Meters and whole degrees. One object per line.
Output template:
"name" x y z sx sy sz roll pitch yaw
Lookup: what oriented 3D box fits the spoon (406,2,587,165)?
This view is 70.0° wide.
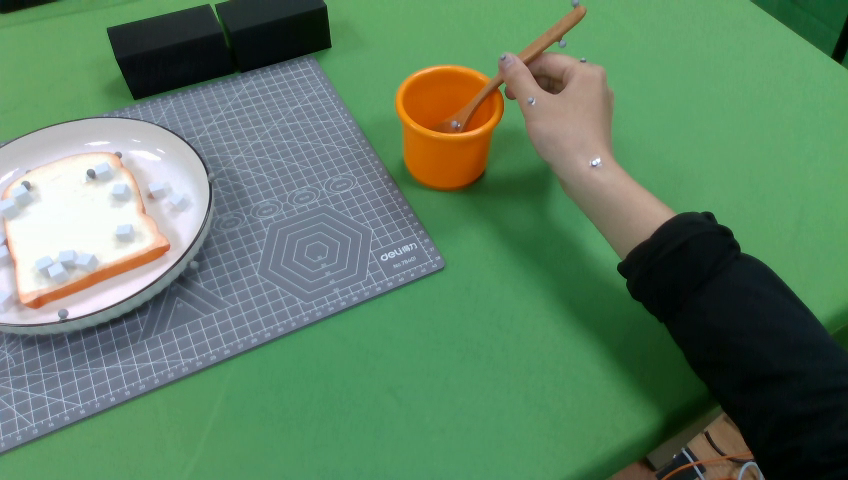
"spoon" 0.057 -0.129 0.513 0.022 0.194 0.041 19 40 -47

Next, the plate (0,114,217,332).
"plate" -0.270 -0.016 0.482 0.209 0.038 0.207 1 55 -1

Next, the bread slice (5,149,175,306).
"bread slice" -0.275 -0.018 0.486 0.107 0.018 0.133 -29 62 -20
